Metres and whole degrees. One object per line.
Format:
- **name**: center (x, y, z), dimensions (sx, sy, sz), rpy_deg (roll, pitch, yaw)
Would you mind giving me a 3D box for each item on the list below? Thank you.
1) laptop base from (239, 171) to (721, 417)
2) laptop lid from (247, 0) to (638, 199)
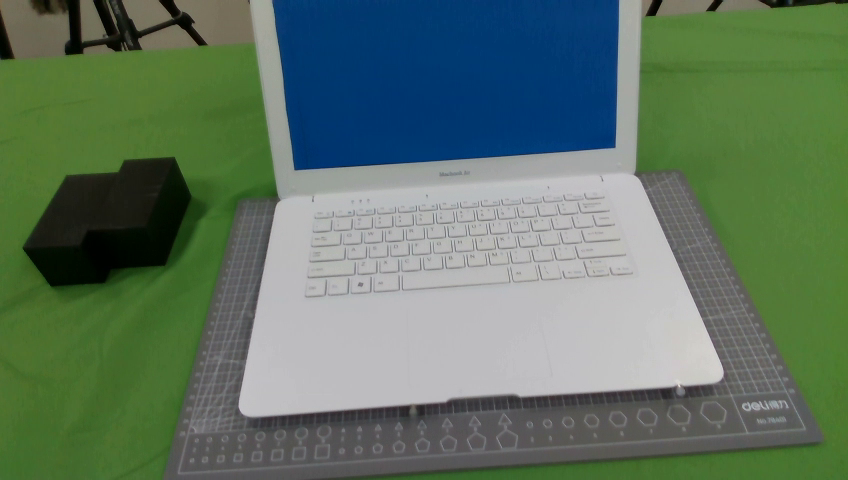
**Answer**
- **laptop base**: center (0.036, 0.034, 0.517), dimensions (0.354, 0.023, 0.233), rpy_deg (-4, 48, 0)
- **laptop lid**: center (0.022, -0.160, 0.563), dimensions (0.357, 0.243, 0.013), rpy_deg (-6, 17, 0)
